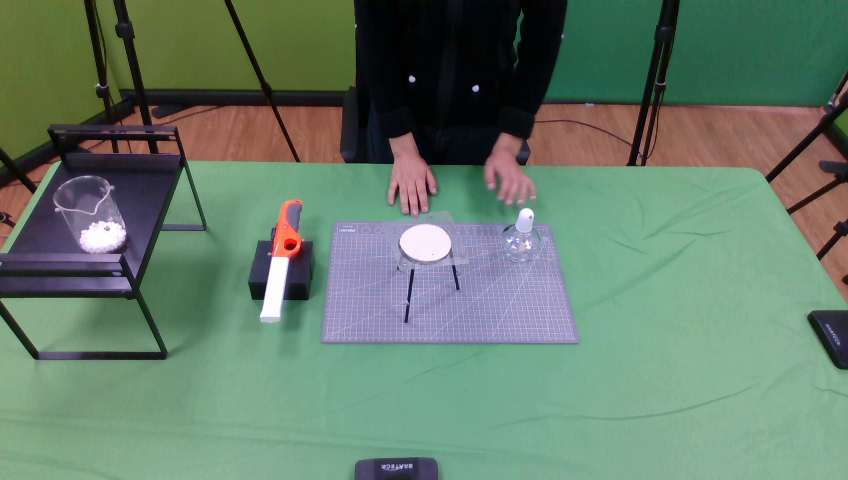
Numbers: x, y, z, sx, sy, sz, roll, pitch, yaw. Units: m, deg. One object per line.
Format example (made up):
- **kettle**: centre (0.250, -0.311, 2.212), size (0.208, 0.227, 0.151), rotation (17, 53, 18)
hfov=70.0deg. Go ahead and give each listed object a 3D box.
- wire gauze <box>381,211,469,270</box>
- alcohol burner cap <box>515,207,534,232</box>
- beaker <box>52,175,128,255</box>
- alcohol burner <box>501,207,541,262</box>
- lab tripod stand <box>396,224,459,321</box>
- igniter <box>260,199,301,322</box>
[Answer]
- **wire gauze**: centre (0.000, 0.001, 1.023), size (0.125, 0.011, 0.120), rotation (-9, 48, -13)
- **alcohol burner cap**: centre (0.190, -0.041, 1.135), size (0.034, 0.048, 0.033), rotation (3, 50, -3)
- **beaker**: centre (-0.482, -0.032, 0.888), size (0.074, 0.101, 0.083), rotation (-28, 55, -27)
- **alcohol burner**: centre (0.188, -0.015, 1.160), size (0.078, 0.120, 0.077), rotation (1, 44, -1)
- **lab tripod stand**: centre (-0.003, 0.052, 1.067), size (0.148, 0.132, 0.147), rotation (3, 48, -3)
- **igniter**: centre (-0.255, 0.027, 1.084), size (0.057, 0.025, 0.274), rotation (3, 49, -5)
